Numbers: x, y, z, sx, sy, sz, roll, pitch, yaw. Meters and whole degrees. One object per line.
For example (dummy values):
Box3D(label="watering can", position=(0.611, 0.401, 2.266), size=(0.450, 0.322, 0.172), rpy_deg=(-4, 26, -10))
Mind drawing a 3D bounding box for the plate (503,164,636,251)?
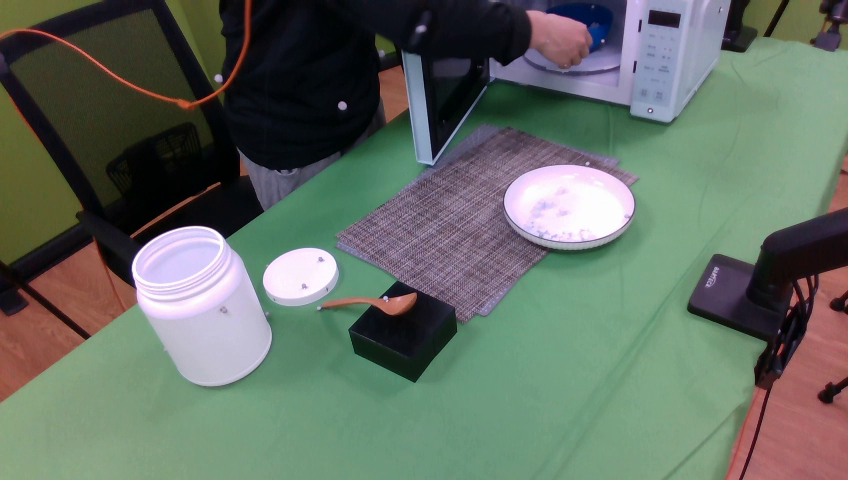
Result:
Box3D(label="plate", position=(0.231, -0.050, 0.976), size=(0.209, 0.038, 0.208), rpy_deg=(-3, 41, 3))

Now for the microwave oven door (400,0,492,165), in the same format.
Box3D(label="microwave oven door", position=(0.055, -0.344, 1.167), size=(0.039, 0.245, 0.356), rpy_deg=(11, 44, 21))

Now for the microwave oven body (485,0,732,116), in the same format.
Box3D(label="microwave oven body", position=(0.377, -0.463, 1.267), size=(0.438, 0.261, 0.327), rpy_deg=(21, 49, 30))

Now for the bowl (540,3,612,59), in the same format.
Box3D(label="bowl", position=(0.323, -0.441, 1.296), size=(0.151, 0.077, 0.150), rpy_deg=(-3, 41, 3))

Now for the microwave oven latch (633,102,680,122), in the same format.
Box3D(label="microwave oven latch", position=(0.443, -0.249, 1.157), size=(0.078, 0.029, 0.030), rpy_deg=(21, 49, 30))

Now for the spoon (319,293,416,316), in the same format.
Box3D(label="spoon", position=(-0.082, 0.086, 0.826), size=(0.192, 0.022, 0.041), rpy_deg=(-3, 37, 41))

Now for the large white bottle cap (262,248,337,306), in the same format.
Box3D(label="large white bottle cap", position=(-0.193, 0.056, 0.934), size=(0.115, 0.018, 0.114), rpy_deg=(-4, 41, 4))

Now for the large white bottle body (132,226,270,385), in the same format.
Box3D(label="large white bottle body", position=(-0.285, 0.084, 0.784), size=(0.130, 0.185, 0.130), rpy_deg=(-4, 41, 4))
